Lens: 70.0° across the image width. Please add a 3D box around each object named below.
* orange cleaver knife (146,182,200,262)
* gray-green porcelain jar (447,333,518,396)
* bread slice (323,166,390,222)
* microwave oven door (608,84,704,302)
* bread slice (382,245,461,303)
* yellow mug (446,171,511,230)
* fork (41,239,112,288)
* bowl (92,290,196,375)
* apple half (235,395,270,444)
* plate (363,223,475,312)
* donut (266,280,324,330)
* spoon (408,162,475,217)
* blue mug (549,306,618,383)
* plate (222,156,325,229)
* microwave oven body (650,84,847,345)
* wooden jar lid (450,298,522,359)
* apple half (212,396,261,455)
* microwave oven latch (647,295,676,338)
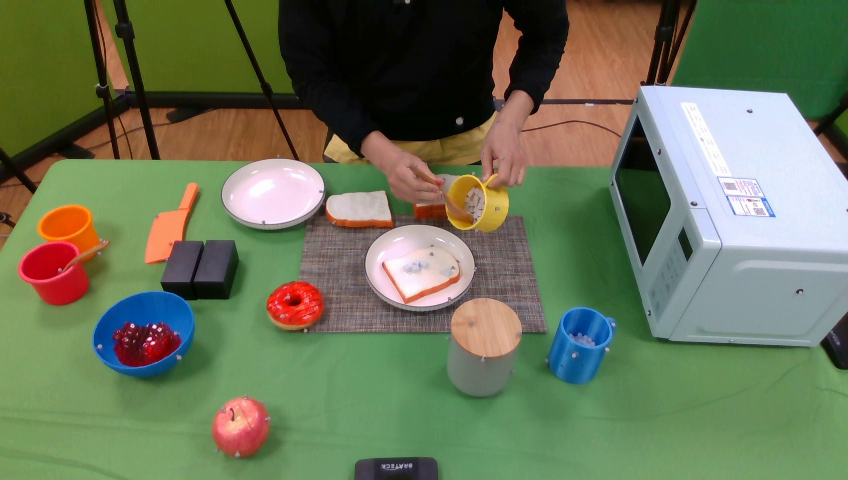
[{"bbox_3d":[-0.494,-0.039,1.198,0.077,0.012,0.210,-3,48,2],"label":"orange cleaver knife"},{"bbox_3d":[0.091,0.178,0.960,0.106,0.127,0.105,2,46,-2],"label":"gray-green porcelain jar"},{"bbox_3d":[-0.140,-0.092,1.224,0.134,0.018,0.106,-19,51,6],"label":"bread slice"},{"bbox_3d":[0.424,-0.096,1.138,0.039,0.245,0.353,2,47,-1],"label":"microwave oven door"},{"bbox_3d":[0.000,0.054,1.129,0.131,0.019,0.104,-20,51,-20],"label":"bread slice"},{"bbox_3d":[0.106,-0.079,1.090,0.064,0.131,0.099,3,49,-44],"label":"yellow mug"},{"bbox_3d":[-0.591,0.040,1.028,0.207,0.019,0.028,-27,36,29],"label":"fork"},{"bbox_3d":[-0.436,0.161,0.971,0.151,0.077,0.150,2,46,-2],"label":"bowl"},{"bbox_3d":[-0.245,0.260,0.893,0.033,0.082,0.081,-29,55,-22],"label":"apple half"},{"bbox_3d":[-0.009,0.054,1.126,0.208,0.039,0.206,2,46,-2],"label":"plate"},{"bbox_3d":[-0.223,0.113,1.051,0.099,0.048,0.098,2,45,-2],"label":"donut"},{"bbox_3d":[0.030,-0.084,1.045,0.041,0.195,0.021,10,68,41],"label":"spoon"},{"bbox_3d":[0.269,0.167,0.997,0.116,0.106,0.082,-19,51,-21],"label":"blue mug"},{"bbox_3d":[-0.307,-0.094,1.251,0.209,0.038,0.208,2,46,-2],"label":"plate"},{"bbox_3d":[0.569,-0.054,1.116,0.326,0.261,0.439,2,46,-1],"label":"microwave oven body"},{"bbox_3d":[0.093,0.135,0.914,0.108,0.021,0.107,3,48,-3],"label":"wooden jar lid"},{"bbox_3d":[-0.276,0.276,0.877,0.053,0.075,0.080,-29,58,-21],"label":"apple half"},{"bbox_3d":[0.413,0.133,1.060,0.030,0.029,0.078,4,46,1],"label":"microwave oven latch"}]
